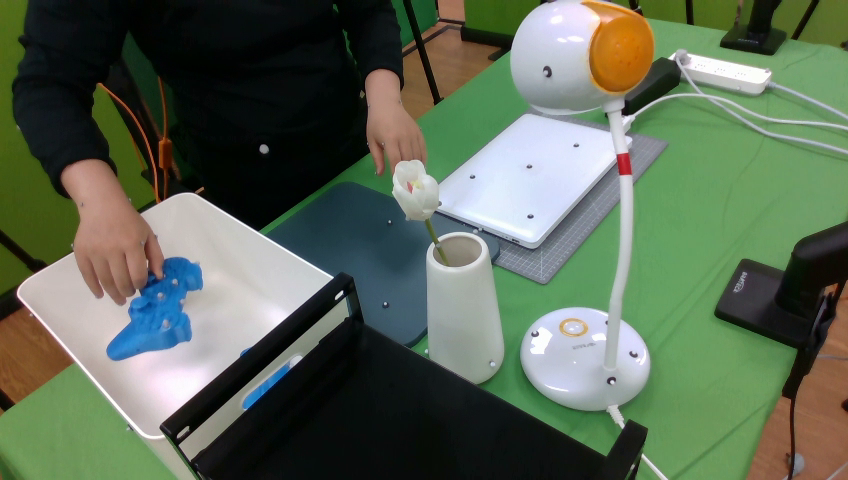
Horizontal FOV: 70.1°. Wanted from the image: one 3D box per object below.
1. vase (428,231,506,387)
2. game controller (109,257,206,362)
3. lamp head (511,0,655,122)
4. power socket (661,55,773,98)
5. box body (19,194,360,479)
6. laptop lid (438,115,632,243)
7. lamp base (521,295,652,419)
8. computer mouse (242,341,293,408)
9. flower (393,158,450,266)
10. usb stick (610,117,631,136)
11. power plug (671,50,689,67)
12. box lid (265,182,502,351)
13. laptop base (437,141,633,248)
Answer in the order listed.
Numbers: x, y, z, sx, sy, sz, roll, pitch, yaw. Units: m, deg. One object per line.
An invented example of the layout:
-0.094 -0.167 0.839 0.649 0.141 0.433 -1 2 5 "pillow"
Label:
0.050 0.087 0.728 0.098 0.201 0.097 -3 40 3 "vase"
-0.334 0.078 0.762 0.097 0.052 0.154 -4 39 -6 "game controller"
0.155 -0.168 0.563 0.113 0.113 0.122 -18 23 -12 "lamp head"
0.619 -0.353 1.289 0.225 0.033 0.072 26 51 33 "power socket"
-0.288 0.118 0.772 0.361 0.161 0.255 26 50 33 "box body"
0.189 -0.126 1.081 0.239 0.013 0.358 23 49 35 "laptop lid"
0.201 0.095 0.710 0.161 0.181 0.178 -16 43 -10 "lamp base"
-0.200 0.178 0.776 0.063 0.041 0.116 -12 43 -7 "computer mouse"
0.028 0.036 0.664 0.043 0.364 0.038 36 73 30 "flower"
0.369 -0.208 1.147 0.021 0.027 0.059 26 56 33 "usb stick"
0.540 -0.379 1.302 0.073 0.053 0.035 -31 46 -23 "power plug"
-0.087 0.023 0.971 0.368 0.015 0.264 23 49 31 "box lid"
0.193 -0.117 1.087 0.233 0.023 0.355 21 47 34 "laptop base"
